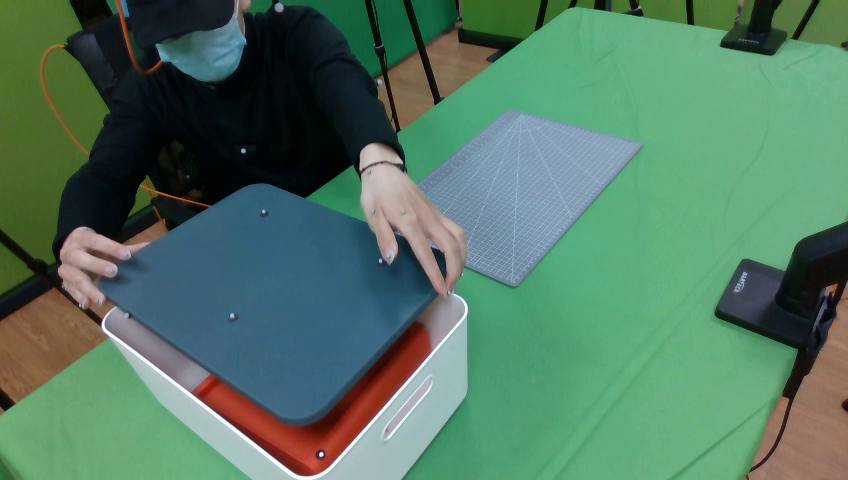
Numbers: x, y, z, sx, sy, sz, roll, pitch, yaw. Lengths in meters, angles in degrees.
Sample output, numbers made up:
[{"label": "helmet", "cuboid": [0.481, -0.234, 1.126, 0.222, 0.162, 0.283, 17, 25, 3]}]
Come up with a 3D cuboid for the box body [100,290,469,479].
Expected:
[{"label": "box body", "cuboid": [-0.152, 0.140, 0.722, 0.361, 0.161, 0.255, 22, 49, 30]}]

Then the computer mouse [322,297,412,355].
[{"label": "computer mouse", "cuboid": [-0.074, 0.109, 0.773, 0.117, 0.041, 0.062, -11, 44, 6]}]

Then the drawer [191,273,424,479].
[{"label": "drawer", "cuboid": [-0.135, 0.168, 0.727, 0.193, 0.073, 0.211, 21, 64, 22]}]

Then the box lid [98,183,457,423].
[{"label": "box lid", "cuboid": [-0.176, 0.042, 0.706, 0.368, 0.015, 0.264, 22, 46, 30]}]

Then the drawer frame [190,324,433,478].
[{"label": "drawer frame", "cuboid": [-0.128, 0.168, 0.738, 0.200, 0.083, 0.214, 19, 48, 27]}]
